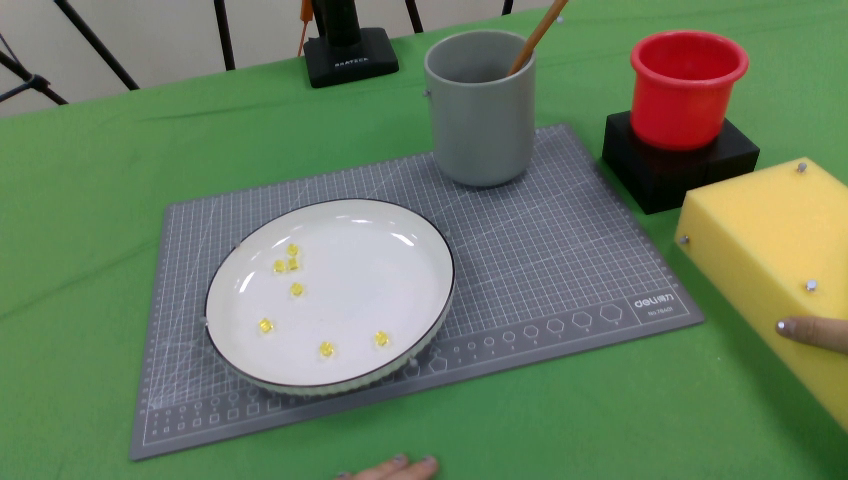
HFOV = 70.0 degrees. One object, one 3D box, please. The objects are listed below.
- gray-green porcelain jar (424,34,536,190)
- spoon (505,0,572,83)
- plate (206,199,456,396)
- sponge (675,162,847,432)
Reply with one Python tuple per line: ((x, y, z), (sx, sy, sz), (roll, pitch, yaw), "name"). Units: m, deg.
((0.058, -0.122, 0.604), (0.106, 0.128, 0.105), (-4, 44, 5), "gray-green porcelain jar")
((0.085, -0.148, 0.574), (0.022, 0.194, 0.041), (19, 38, -12), "spoon")
((-0.075, 0.046, 0.515), (0.207, 0.039, 0.205), (-4, 44, 4), "plate")
((0.307, 0.033, 0.462), (0.118, 0.061, 0.204), (-17, 44, -9), "sponge")
